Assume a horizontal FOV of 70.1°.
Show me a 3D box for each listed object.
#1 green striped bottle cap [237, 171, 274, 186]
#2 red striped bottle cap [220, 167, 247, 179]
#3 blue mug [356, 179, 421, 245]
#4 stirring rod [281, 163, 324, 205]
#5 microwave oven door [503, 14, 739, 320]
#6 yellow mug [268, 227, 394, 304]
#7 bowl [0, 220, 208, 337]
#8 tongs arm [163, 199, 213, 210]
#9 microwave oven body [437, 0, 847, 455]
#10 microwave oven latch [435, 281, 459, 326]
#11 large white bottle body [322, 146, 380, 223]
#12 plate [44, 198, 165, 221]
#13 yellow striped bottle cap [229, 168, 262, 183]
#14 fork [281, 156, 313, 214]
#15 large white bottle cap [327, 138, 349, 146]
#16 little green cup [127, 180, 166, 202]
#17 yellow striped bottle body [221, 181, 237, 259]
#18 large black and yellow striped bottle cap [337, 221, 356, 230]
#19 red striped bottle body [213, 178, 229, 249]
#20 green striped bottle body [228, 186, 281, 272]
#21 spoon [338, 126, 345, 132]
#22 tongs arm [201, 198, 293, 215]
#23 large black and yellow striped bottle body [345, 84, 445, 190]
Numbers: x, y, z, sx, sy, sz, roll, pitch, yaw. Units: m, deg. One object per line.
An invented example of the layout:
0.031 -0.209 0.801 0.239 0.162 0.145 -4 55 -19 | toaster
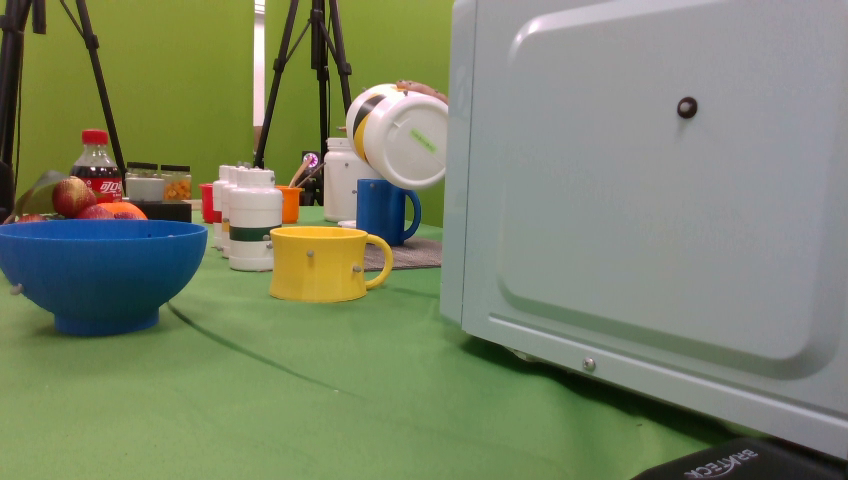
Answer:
-0.206 -0.074 0.738 0.044 0.020 0.044 1 8 0 | green striped bottle cap
-0.281 -0.100 0.901 0.044 0.017 0.044 -1 5 0 | red striped bottle cap
-0.058 -0.047 1.005 0.116 0.106 0.082 5 8 23 | blue mug
-0.278 -0.105 1.293 0.176 0.006 0.014 -47 24 -18 | stirring rod
0.217 -0.065 0.600 0.358 0.243 0.039 -4 10 -41 | microwave oven door
-0.094 0.023 0.629 0.131 0.064 0.099 0 7 -22 | yellow mug
-0.251 0.029 0.479 0.151 0.077 0.151 2 7 0 | bowl
-0.504 -0.091 1.513 0.028 0.028 0.389 -1 4 37 | tongs arm
0.279 -0.040 0.464 0.444 0.260 0.324 -3 8 -41 | microwave oven body
0.044 0.046 0.470 0.079 0.029 0.030 -3 8 -40 | microwave oven latch
-0.163 -0.134 1.369 0.131 0.184 0.130 2 7 0 | large white bottle body
-0.617 -0.056 1.179 0.209 0.038 0.209 3 7 0 | plate
-0.240 -0.087 0.816 0.044 0.018 0.044 -2 5 1 | yellow striped bottle cap
-0.289 -0.116 1.320 0.028 0.019 0.207 0 49 25 | fork
-0.160 -0.218 1.357 0.115 0.018 0.115 2 8 0 | large white bottle cap
-0.486 -0.086 1.062 0.061 0.038 0.061 1 7 0 | little green cup
-0.244 -0.035 0.823 0.063 0.120 0.063 2 8 0 | yellow striped bottle body
-0.107 -0.022 1.148 0.115 0.019 0.115 1 8 0 | large black and yellow striped bottle cap
-0.284 -0.047 0.908 0.063 0.119 0.063 2 7 0 | red striped bottle body
-0.208 -0.024 0.745 0.063 0.119 0.063 2 7 0 | green striped bottle body
-0.083 -0.179 0.981 0.042 0.021 0.192 -15 23 -38 | spoon
-0.423 -0.084 1.472 0.050 0.026 0.386 2 6 21 | tongs arm
-0.039 -0.157 0.887 0.131 0.130 0.183 -1 20 -24 | large black and yellow striped bottle body
